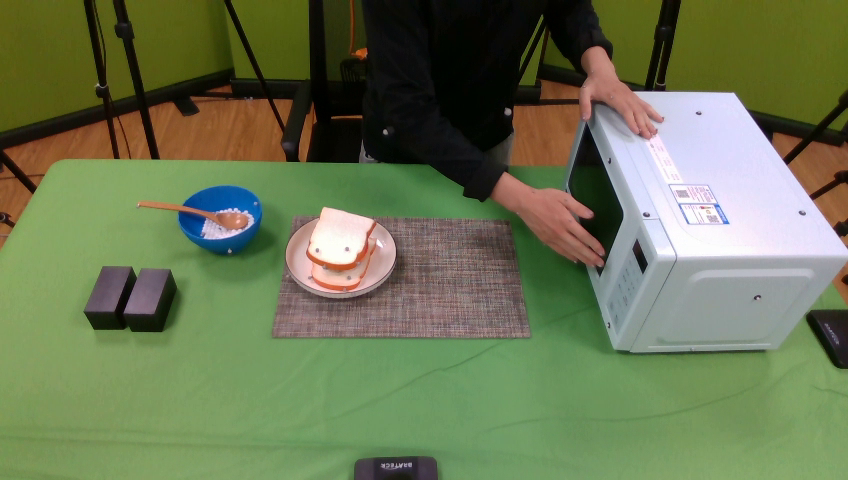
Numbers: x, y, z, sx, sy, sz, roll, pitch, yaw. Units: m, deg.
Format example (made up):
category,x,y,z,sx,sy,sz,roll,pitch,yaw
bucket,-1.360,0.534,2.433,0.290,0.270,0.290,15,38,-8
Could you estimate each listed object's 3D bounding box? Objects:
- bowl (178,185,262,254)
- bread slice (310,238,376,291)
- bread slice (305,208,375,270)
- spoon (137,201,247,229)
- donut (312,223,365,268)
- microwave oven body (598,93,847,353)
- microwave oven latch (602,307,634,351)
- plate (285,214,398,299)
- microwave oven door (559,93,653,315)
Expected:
category,x,y,z,sx,sy,sz,roll,pitch,yaw
bowl,-0.383,-0.027,1.158,0.151,0.077,0.150,2,46,-2
bread slice,-0.154,0.039,1.135,0.107,0.018,0.133,7,46,3
bread slice,-0.154,-0.001,1.095,0.105,0.019,0.131,15,48,1
spoon,-0.431,-0.052,1.134,0.194,0.022,0.041,13,46,-22
donut,-0.157,0.011,1.121,0.099,0.048,0.098,2,45,-2
microwave oven body,0.476,-0.041,1.110,0.326,0.261,0.438,-1,45,-4
microwave oven latch,0.332,0.153,1.044,0.030,0.029,0.078,-1,45,-4
plate,-0.154,0.034,1.141,0.208,0.039,0.206,2,46,-2
microwave oven door,0.327,-0.074,1.123,0.039,0.245,0.353,-1,46,-5
